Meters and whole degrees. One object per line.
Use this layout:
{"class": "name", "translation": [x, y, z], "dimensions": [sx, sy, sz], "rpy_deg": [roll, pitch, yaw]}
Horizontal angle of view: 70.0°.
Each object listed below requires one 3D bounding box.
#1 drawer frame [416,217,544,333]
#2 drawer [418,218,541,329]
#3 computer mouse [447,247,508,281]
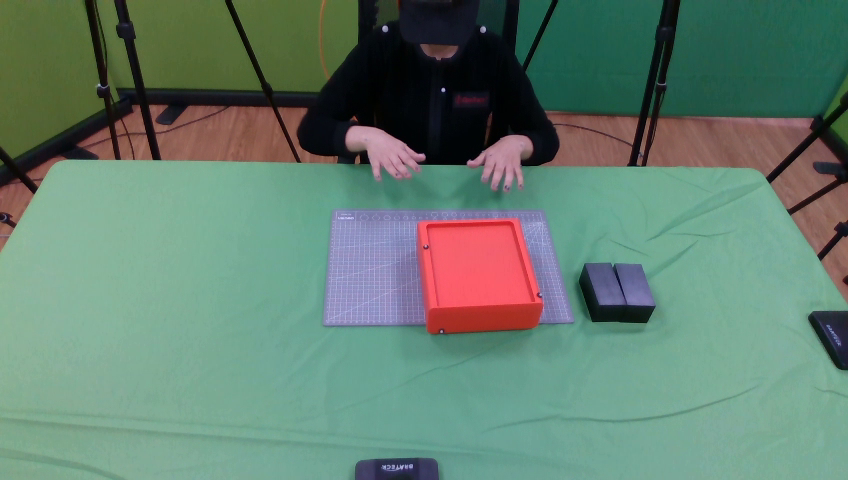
{"class": "drawer frame", "translation": [0.094, 0.058, 1.104], "dimensions": [0.202, 0.083, 0.212], "rpy_deg": [-2, 47, -7]}
{"class": "drawer", "translation": [0.094, 0.057, 1.107], "dimensions": [0.195, 0.073, 0.210], "rpy_deg": [-1, 47, -6]}
{"class": "computer mouse", "translation": [0.101, 0.046, 1.135], "dimensions": [0.117, 0.041, 0.062], "rpy_deg": [4, 43, -9]}
